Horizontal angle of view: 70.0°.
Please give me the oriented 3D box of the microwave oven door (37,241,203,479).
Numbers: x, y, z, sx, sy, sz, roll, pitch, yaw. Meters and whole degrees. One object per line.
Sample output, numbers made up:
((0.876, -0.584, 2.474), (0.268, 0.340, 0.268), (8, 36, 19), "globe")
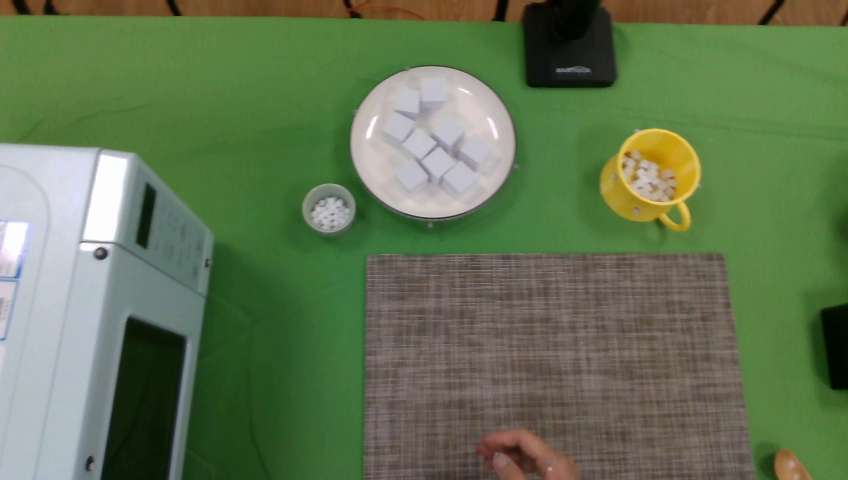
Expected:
((-0.269, 0.199, 0.539), (0.039, 0.245, 0.354), (2, 75, -2), "microwave oven door")

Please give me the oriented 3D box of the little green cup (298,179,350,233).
((-0.119, -0.038, 0.731), (0.061, 0.039, 0.061), (1, 76, -5), "little green cup")

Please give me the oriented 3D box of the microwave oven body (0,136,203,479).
((-0.413, 0.152, 0.547), (0.326, 0.261, 0.439), (3, 76, -3), "microwave oven body")

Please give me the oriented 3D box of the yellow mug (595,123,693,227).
((0.280, -0.073, 0.753), (0.100, 0.064, 0.130), (-29, 80, -10), "yellow mug")

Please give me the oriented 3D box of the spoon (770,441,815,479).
((0.470, 0.304, 0.692), (0.193, 0.022, 0.041), (42, 61, 7), "spoon")

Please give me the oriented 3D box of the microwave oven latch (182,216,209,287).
((-0.265, 0.012, 0.691), (0.030, 0.029, 0.079), (5, 76, -3), "microwave oven latch")

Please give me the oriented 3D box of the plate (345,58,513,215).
((0.006, -0.128, 0.764), (0.208, 0.039, 0.206), (1, 76, -3), "plate")
